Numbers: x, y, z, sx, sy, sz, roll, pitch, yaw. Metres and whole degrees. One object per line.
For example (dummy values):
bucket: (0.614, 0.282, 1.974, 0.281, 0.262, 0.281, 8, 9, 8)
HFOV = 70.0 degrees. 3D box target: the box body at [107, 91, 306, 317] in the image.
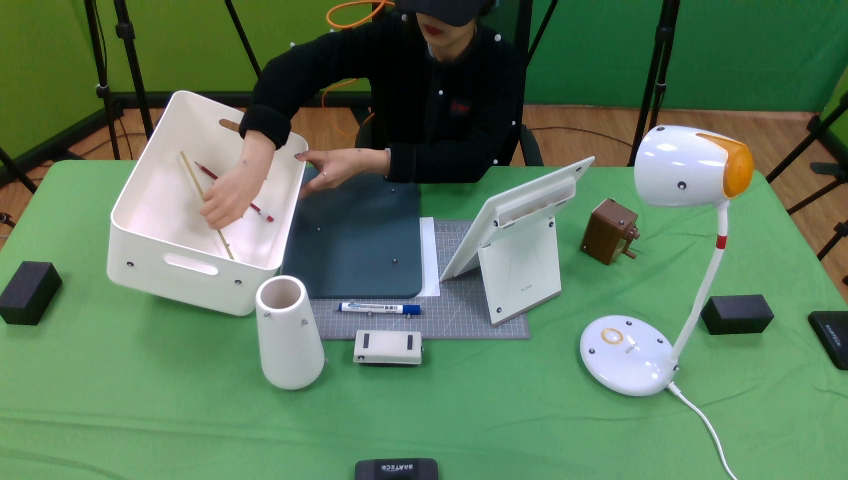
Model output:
box body: (-0.377, -0.064, 1.083, 0.255, 0.161, 0.361, 20, 43, -20)

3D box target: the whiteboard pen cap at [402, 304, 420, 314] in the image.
whiteboard pen cap: (-0.024, 0.123, 1.076, 0.033, 0.018, 0.018, 1, 46, 1)

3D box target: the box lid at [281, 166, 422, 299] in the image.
box lid: (-0.139, -0.029, 1.220, 0.263, 0.015, 0.369, 1, 46, -4)

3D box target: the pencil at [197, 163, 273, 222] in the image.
pencil: (-0.384, -0.098, 1.222, 0.194, 0.012, 0.012, 37, 52, 3)

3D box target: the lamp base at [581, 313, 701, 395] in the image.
lamp base: (0.361, 0.144, 0.973, 0.178, 0.181, 0.160, 34, 53, 23)

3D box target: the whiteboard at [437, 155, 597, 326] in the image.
whiteboard: (0.180, 0.023, 1.029, 0.217, 0.306, 0.143, -22, 71, -23)

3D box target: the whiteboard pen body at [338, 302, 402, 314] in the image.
whiteboard pen body: (-0.083, 0.121, 1.074, 0.141, 0.017, 0.017, 3, 46, -2)

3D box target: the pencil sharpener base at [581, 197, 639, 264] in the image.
pencil sharpener base: (0.362, -0.016, 1.178, 0.076, 0.107, 0.061, 35, 53, 26)

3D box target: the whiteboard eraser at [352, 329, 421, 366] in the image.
whiteboard eraser: (-0.061, 0.179, 1.005, 0.113, 0.042, 0.055, 3, 48, -3)

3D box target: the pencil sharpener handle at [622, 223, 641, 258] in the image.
pencil sharpener handle: (0.399, 0.002, 1.146, 0.030, 0.068, 0.036, 35, 45, 26)

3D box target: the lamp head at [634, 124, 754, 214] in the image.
lamp head: (0.351, -0.089, 0.776, 0.112, 0.113, 0.122, -30, 30, -28)

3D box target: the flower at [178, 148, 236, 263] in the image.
flower: (-0.389, -0.040, 1.120, 0.044, 0.038, 0.360, -39, 67, 14)

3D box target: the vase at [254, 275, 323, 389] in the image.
vase: (-0.209, 0.143, 0.921, 0.098, 0.201, 0.097, 1, 46, -1)
